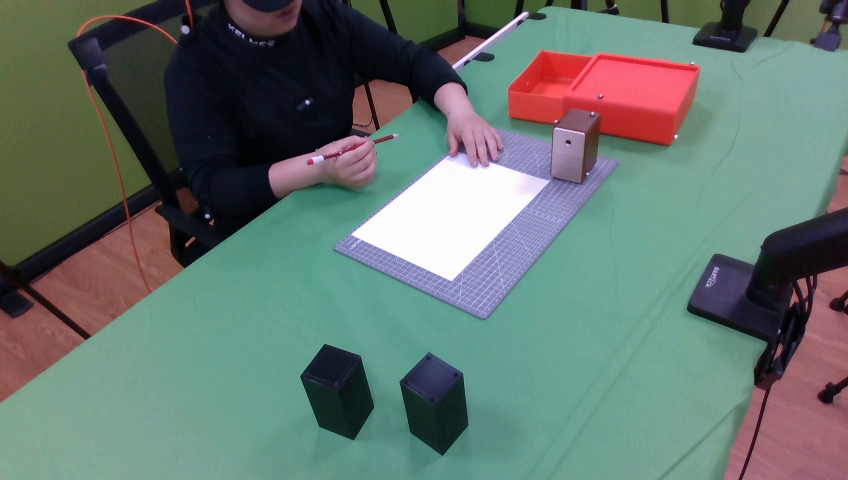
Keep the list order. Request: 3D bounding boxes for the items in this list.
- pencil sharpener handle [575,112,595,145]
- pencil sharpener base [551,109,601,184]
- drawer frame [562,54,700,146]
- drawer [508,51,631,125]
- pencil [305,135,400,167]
[{"bbox_3d":[0.290,-0.203,1.077,0.036,0.068,0.031,20,47,25],"label":"pencil sharpener handle"},{"bbox_3d":[0.265,-0.163,1.053,0.061,0.107,0.077,17,46,27],"label":"pencil sharpener base"},{"bbox_3d":[0.407,-0.282,1.195,0.212,0.083,0.202,17,45,25],"label":"drawer frame"},{"bbox_3d":[0.304,-0.309,1.246,0.210,0.073,0.195,16,45,25],"label":"drawer"},{"bbox_3d":[-0.121,-0.159,1.060,0.195,0.012,0.012,-23,42,-31],"label":"pencil"}]
